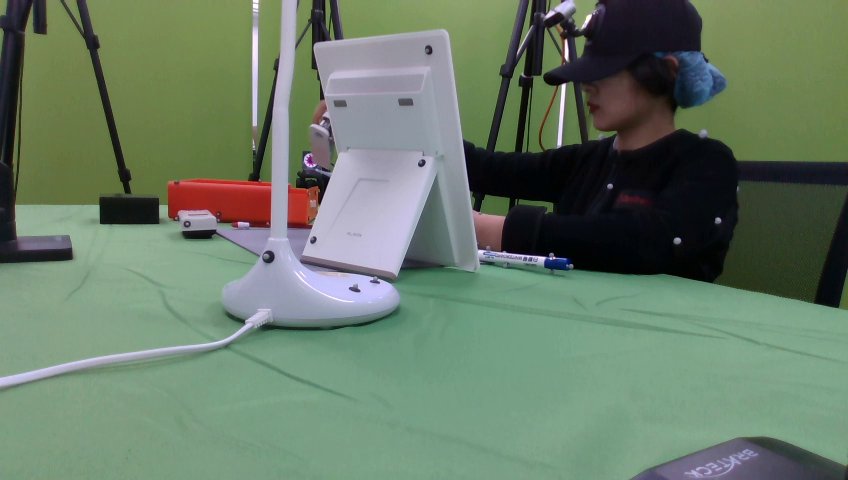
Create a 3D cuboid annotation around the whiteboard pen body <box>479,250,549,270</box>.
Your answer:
[{"bbox_3d":[0.130,0.028,0.827,0.140,0.017,0.017,7,9,38],"label":"whiteboard pen body"}]

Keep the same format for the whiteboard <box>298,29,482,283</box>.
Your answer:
[{"bbox_3d":[-0.075,-0.082,0.742,0.216,0.305,0.144,9,29,37],"label":"whiteboard"}]

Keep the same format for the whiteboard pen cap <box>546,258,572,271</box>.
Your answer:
[{"bbox_3d":[0.175,0.032,0.790,0.033,0.018,0.018,3,6,37],"label":"whiteboard pen cap"}]

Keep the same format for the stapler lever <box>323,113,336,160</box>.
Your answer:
[{"bbox_3d":[-0.183,-0.204,1.184,0.027,0.040,0.118,29,-29,6],"label":"stapler lever"}]

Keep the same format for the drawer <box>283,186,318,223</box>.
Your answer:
[{"bbox_3d":[-0.342,-0.082,1.309,0.212,0.073,0.194,1,8,-4],"label":"drawer"}]

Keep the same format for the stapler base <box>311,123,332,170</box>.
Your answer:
[{"bbox_3d":[-0.194,-0.185,1.171,0.041,0.024,0.130,29,-28,6],"label":"stapler base"}]

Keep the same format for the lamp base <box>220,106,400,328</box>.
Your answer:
[{"bbox_3d":[-0.101,-0.023,0.531,0.160,0.180,0.179,4,10,10],"label":"lamp base"}]

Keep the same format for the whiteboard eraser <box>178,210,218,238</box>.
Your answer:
[{"bbox_3d":[-0.380,-0.027,1.014,0.056,0.042,0.112,0,8,-25],"label":"whiteboard eraser"}]

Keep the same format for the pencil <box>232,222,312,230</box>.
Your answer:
[{"bbox_3d":[-0.261,-0.025,1.141,0.195,0.012,0.012,2,7,-26],"label":"pencil"}]

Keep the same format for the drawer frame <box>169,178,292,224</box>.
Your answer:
[{"bbox_3d":[-0.406,-0.087,1.304,0.214,0.082,0.201,1,8,-5],"label":"drawer frame"}]
